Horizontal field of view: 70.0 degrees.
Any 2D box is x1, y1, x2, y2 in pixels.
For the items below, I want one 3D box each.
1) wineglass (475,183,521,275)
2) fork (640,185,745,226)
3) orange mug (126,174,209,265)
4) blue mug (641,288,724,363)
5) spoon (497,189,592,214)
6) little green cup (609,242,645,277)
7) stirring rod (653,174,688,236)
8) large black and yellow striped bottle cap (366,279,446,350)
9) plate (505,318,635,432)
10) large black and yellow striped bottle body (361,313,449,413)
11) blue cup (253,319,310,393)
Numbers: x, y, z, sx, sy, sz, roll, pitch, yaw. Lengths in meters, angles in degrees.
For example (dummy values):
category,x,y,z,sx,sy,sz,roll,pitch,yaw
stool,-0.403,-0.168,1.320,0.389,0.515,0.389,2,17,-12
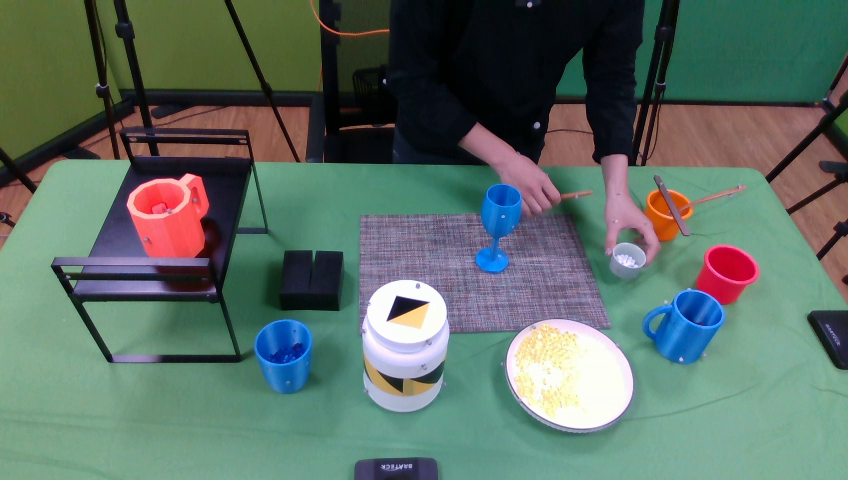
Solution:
category,x,y,z,sx,sy,sz,roll,pitch,yaw
wineglass,0.134,-0.020,1.115,0.074,0.173,0.073,2,46,-2
fork,0.534,-0.069,1.215,0.207,0.019,0.028,-26,27,33
orange mug,-0.371,-0.039,0.902,0.083,0.101,0.126,18,51,14
blue mug,0.432,0.144,1.033,0.116,0.106,0.082,8,46,5
spoon,0.236,-0.079,1.201,0.193,0.042,0.021,-16,72,28
little green cup,0.375,0.038,1.127,0.061,0.039,0.061,5,47,-5
stirring rod,0.491,-0.072,1.211,0.014,0.006,0.175,0,47,-6
large black and yellow striped bottle cap,-0.025,0.104,0.864,0.115,0.019,0.114,3,48,-3
plate,0.235,0.221,0.991,0.209,0.038,0.208,2,45,-2
large black and yellow striped bottle body,-0.031,0.163,0.924,0.131,0.185,0.130,2,46,-2
blue cup,-0.217,0.187,0.943,0.093,0.101,0.092,3,46,-3
